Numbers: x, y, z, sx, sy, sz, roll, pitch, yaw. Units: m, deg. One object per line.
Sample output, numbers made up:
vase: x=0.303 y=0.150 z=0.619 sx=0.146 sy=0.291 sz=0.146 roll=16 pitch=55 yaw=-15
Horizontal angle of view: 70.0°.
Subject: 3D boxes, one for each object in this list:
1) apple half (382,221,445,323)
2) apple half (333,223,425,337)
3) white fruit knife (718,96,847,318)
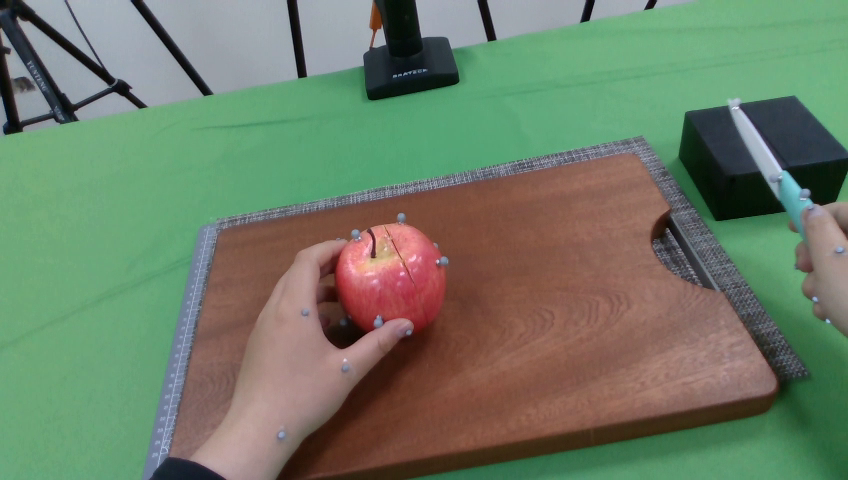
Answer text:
apple half: x=-0.002 y=0.020 z=0.448 sx=0.033 sy=0.082 sz=0.080 roll=-24 pitch=44 yaw=-8
apple half: x=-0.037 y=0.035 z=0.441 sx=0.053 sy=0.075 sz=0.080 roll=-24 pitch=48 yaw=-7
white fruit knife: x=0.260 y=-0.038 z=0.443 sx=0.016 sy=0.028 sz=0.205 roll=-12 pitch=53 yaw=2
